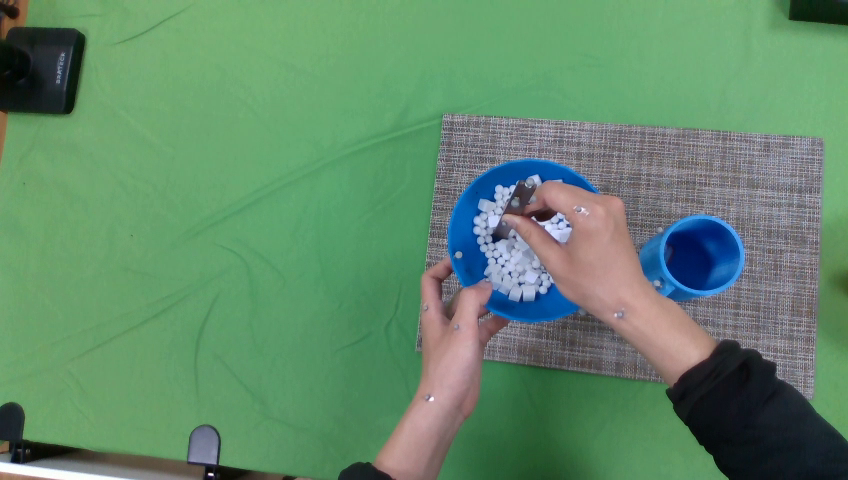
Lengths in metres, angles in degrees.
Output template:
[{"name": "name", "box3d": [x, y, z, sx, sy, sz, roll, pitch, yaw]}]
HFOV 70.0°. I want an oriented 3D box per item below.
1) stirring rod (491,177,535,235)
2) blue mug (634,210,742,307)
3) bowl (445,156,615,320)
[{"name": "stirring rod", "box3d": [0.072, -0.024, 0.508, 0.014, 0.177, 0.006, 13, 79, 3]}, {"name": "blue mug", "box3d": [0.271, 0.030, 0.658, 0.082, 0.106, 0.116, 44, 90, 11]}, {"name": "bowl", "box3d": [0.096, 0.003, 0.575, 0.151, 0.077, 0.151, -1, 80, 3]}]
